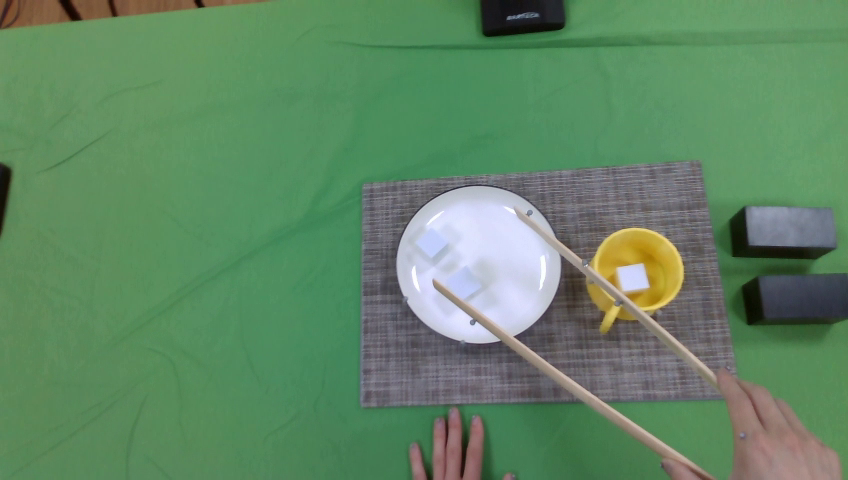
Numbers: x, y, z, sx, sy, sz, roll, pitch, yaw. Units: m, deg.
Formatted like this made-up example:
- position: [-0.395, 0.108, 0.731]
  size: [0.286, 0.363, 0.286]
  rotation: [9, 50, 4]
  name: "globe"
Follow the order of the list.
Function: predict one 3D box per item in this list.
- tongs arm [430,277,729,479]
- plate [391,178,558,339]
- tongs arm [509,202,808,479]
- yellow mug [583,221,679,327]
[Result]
- position: [0.146, 0.128, 0.578]
  size: [0.384, 0.028, 0.028]
  rotation: [31, 69, 35]
  name: "tongs arm"
- position: [0.063, 0.024, 0.767]
  size: [0.207, 0.039, 0.206]
  rotation: [-2, 74, 6]
  name: "plate"
- position: [0.197, 0.080, 0.589]
  size: [0.051, 0.027, 0.380]
  rotation: [-40, 53, -9]
  name: "tongs arm"
- position: [0.239, 0.047, 0.726]
  size: [0.099, 0.064, 0.130]
  rotation: [28, 79, 13]
  name: "yellow mug"
